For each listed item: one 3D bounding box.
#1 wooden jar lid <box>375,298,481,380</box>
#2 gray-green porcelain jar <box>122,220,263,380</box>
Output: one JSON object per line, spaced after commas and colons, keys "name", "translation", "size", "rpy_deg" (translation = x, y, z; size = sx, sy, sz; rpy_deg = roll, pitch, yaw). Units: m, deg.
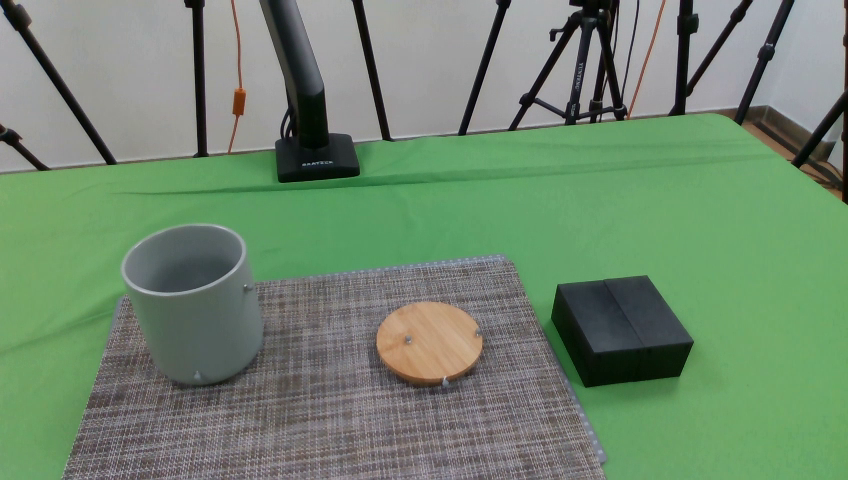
{"name": "wooden jar lid", "translation": [0.004, 0.102, 0.619], "size": [0.108, 0.021, 0.107], "rpy_deg": [2, 38, -1]}
{"name": "gray-green porcelain jar", "translation": [-0.213, 0.061, 0.575], "size": [0.106, 0.127, 0.105], "rpy_deg": [1, 37, 0]}
